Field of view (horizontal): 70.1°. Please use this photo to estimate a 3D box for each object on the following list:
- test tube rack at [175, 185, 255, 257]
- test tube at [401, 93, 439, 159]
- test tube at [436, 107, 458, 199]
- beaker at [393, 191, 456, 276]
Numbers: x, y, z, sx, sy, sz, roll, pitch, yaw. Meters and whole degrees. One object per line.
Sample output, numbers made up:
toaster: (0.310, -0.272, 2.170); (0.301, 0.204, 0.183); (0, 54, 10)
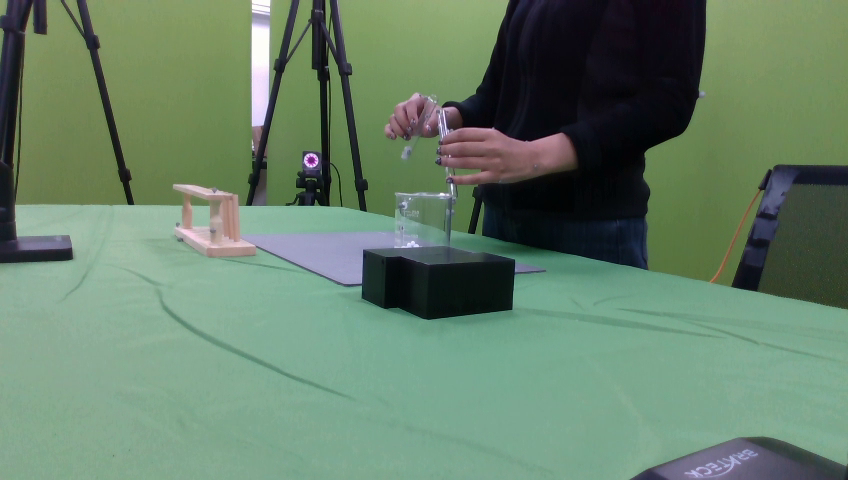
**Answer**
test tube rack: (-0.324, -0.035, 0.922); (0.067, 0.085, 0.241); (-2, 9, -31)
test tube: (-0.009, -0.185, 0.997); (0.017, 0.017, 0.150); (-1, -31, -25)
test tube: (0.035, -0.131, 0.904); (0.017, 0.150, 0.017); (-6, -20, -2)
beaker: (-0.003, -0.010, 0.749); (0.074, 0.100, 0.083); (-3, 8, -40)
